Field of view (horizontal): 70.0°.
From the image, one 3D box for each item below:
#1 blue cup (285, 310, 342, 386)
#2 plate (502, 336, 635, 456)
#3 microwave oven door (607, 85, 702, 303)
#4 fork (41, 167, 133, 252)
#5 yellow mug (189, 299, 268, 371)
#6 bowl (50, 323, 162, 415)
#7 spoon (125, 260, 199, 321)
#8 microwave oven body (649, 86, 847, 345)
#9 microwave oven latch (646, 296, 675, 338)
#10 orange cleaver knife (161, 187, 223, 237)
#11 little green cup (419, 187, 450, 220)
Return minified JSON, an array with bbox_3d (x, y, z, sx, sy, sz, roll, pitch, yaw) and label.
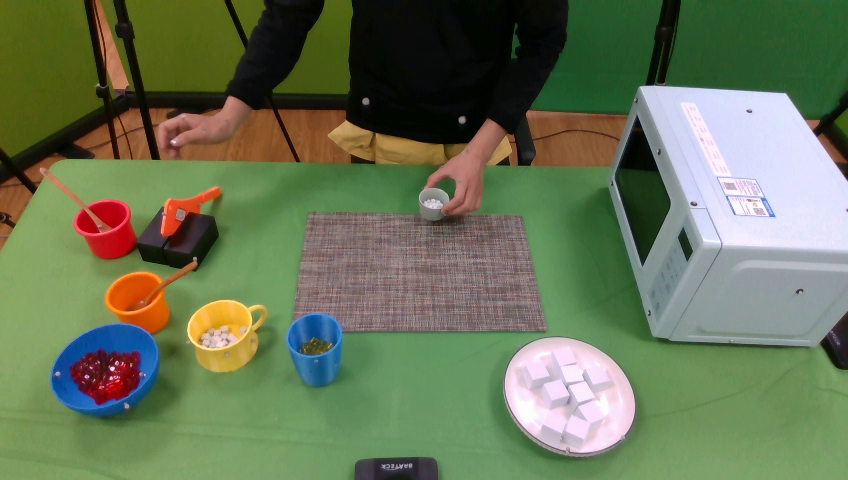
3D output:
[{"bbox_3d":[-0.170,0.179,0.958,0.093,0.101,0.092,2,44,-1],"label":"blue cup"},{"bbox_3d":[0.225,0.248,0.963,0.208,0.039,0.206,2,46,-2],"label":"plate"},{"bbox_3d":[0.423,-0.094,1.141,0.039,0.245,0.353,2,46,-1],"label":"microwave oven door"},{"bbox_3d":[-0.624,-0.056,1.121,0.208,0.018,0.028,49,51,-15],"label":"fork"},{"bbox_3d":[-0.316,0.148,1.002,0.131,0.064,0.099,-33,56,-31],"label":"yellow mug"},{"bbox_3d":[-0.472,0.209,0.924,0.151,0.077,0.150,3,45,-2],"label":"bowl"},{"bbox_3d":[-0.434,0.083,0.999,0.022,0.194,0.041,34,34,-35],"label":"spoon"},{"bbox_3d":[0.568,-0.053,1.118,0.326,0.261,0.439,2,45,-1],"label":"microwave oven body"},{"bbox_3d":[0.412,0.134,1.061,0.030,0.029,0.078,3,45,1],"label":"microwave oven latch"},{"bbox_3d":[-0.448,-0.059,1.181,0.012,0.077,0.211,14,17,6],"label":"orange cleaver knife"},{"bbox_3d":[0.019,-0.071,1.213,0.061,0.039,0.061,5,50,-6],"label":"little green cup"}]
